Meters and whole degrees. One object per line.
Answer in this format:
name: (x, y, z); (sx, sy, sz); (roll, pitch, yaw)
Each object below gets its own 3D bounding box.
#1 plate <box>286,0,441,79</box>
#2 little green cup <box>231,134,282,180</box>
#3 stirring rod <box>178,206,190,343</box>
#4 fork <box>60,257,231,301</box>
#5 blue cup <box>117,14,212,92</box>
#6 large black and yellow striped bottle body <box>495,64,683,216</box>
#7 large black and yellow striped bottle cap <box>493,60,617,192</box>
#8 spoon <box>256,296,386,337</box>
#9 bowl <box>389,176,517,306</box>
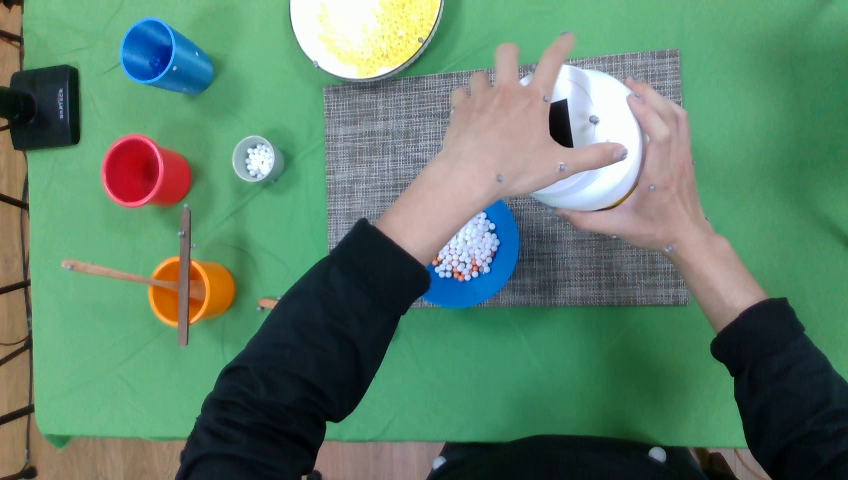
plate: (-0.077, -0.310, 0.788); (0.208, 0.038, 0.209); (0, 89, 13)
little green cup: (-0.224, -0.110, 0.820); (0.061, 0.039, 0.061); (0, 89, 14)
stirring rod: (-0.308, 0.045, 0.777); (0.014, 0.006, 0.176); (0, 89, 12)
fork: (-0.358, 0.050, 0.792); (0.209, 0.018, 0.028); (16, 96, -30)
blue cup: (-0.341, -0.243, 0.817); (0.092, 0.100, 0.092); (0, 89, 15)
large black and yellow striped bottle body: (0.165, -0.096, 0.602); (0.130, 0.185, 0.130); (-3, 85, 39)
large black and yellow striped bottle cap: (0.112, -0.100, 0.537); (0.114, 0.019, 0.115); (-3, 86, 41)
spoon: (-0.140, 0.094, 0.805); (0.193, 0.021, 0.042); (9, 105, 13)
bowl: (0.041, 0.002, 0.731); (0.151, 0.077, 0.151); (0, 89, 13)
